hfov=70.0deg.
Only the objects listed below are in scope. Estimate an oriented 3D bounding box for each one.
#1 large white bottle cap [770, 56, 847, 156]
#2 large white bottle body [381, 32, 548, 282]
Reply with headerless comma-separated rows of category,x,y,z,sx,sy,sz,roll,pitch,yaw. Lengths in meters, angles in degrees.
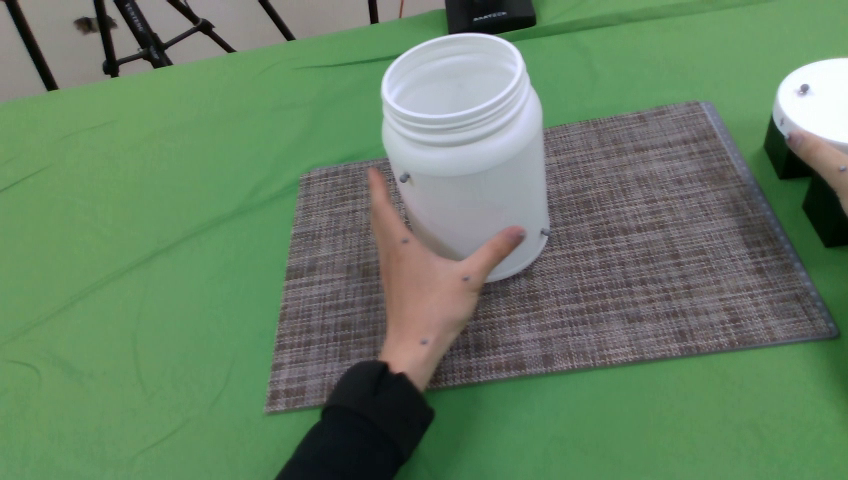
large white bottle cap,0.345,-0.110,0.489,0.115,0.018,0.113,-7,48,8
large white bottle body,0.037,-0.066,0.518,0.130,0.186,0.129,-7,48,8
